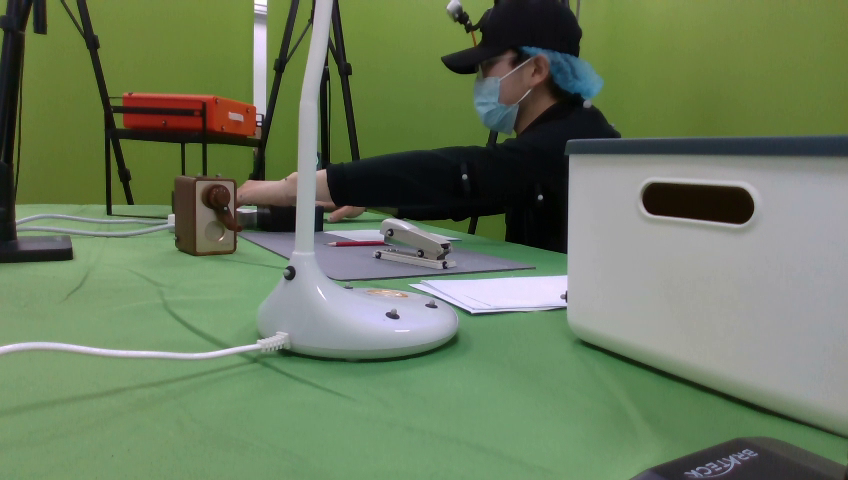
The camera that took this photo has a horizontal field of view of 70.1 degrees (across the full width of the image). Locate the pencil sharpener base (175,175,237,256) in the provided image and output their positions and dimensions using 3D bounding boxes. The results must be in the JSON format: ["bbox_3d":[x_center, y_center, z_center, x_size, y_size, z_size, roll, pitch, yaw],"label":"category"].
[{"bbox_3d":[-0.304,-0.036,0.847,0.062,0.107,0.076,-4,10,-42],"label":"pencil sharpener base"}]

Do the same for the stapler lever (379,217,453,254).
[{"bbox_3d":[-0.013,-0.007,0.828,0.117,0.040,0.027,9,11,39],"label":"stapler lever"}]

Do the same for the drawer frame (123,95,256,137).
[{"bbox_3d":[-0.524,-0.281,1.376,0.213,0.082,0.202,3,8,8],"label":"drawer frame"}]

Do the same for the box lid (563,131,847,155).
[{"bbox_3d":[0.322,-0.064,0.463,0.373,0.015,0.262,-2,9,-31],"label":"box lid"}]

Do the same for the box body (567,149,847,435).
[{"bbox_3d":[0.318,0.009,0.471,0.366,0.160,0.253,-2,8,-31],"label":"box body"}]

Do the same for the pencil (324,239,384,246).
[{"bbox_3d":[-0.067,0.002,0.980,0.195,0.012,0.012,-2,9,-25],"label":"pencil"}]

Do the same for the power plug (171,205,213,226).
[{"bbox_3d":[-0.455,-0.040,1.196,0.052,0.035,0.072,5,46,22],"label":"power plug"}]

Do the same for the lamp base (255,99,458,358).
[{"bbox_3d":[-0.056,-0.013,0.462,0.160,0.180,0.180,6,11,27],"label":"lamp base"}]

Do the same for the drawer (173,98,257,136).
[{"bbox_3d":[-0.518,-0.279,1.376,0.211,0.073,0.195,3,8,10],"label":"drawer"}]

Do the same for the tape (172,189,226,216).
[{"bbox_3d":[-0.515,-0.087,1.388,0.117,0.052,0.117,3,8,0],"label":"tape"}]

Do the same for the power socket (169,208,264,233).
[{"bbox_3d":[-0.381,-0.038,1.130,0.072,0.032,0.227,4,8,16],"label":"power socket"}]

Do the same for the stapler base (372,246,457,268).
[{"bbox_3d":[-0.016,0.017,0.831,0.130,0.024,0.041,10,12,39],"label":"stapler base"}]

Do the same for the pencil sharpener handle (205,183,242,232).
[{"bbox_3d":[-0.265,-0.043,0.812,0.036,0.068,0.030,-31,27,-35],"label":"pencil sharpener handle"}]
